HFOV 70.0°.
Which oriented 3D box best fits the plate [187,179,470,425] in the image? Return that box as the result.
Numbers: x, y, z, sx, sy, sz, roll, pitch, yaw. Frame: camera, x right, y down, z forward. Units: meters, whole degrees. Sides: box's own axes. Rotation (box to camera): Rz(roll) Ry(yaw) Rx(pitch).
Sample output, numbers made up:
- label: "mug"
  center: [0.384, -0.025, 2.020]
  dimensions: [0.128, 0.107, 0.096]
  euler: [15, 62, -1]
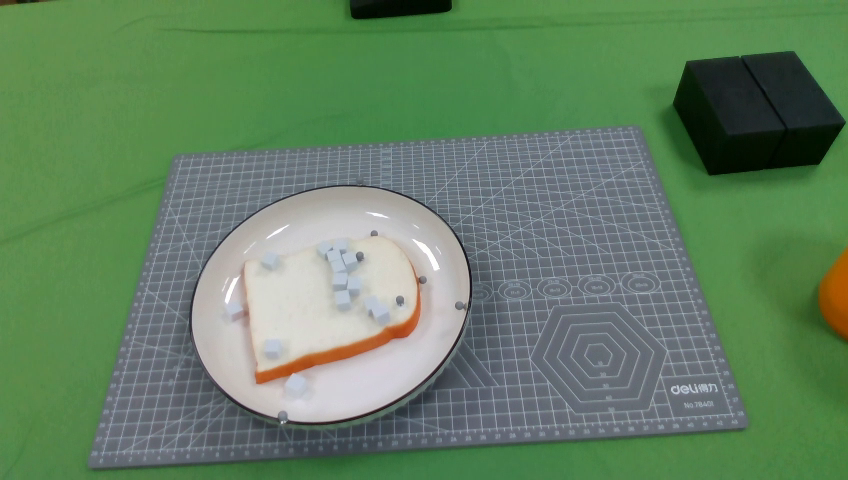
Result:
- label: "plate"
  center: [-0.069, 0.042, 0.459]
  dimensions: [0.209, 0.038, 0.207]
  euler: [-1, 54, 2]

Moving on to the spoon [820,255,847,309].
- label: "spoon"
  center: [0.363, -0.001, 0.397]
  dimensions: [0.193, 0.022, 0.041]
  euler: [-29, 42, 33]

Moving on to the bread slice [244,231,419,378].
- label: "bread slice"
  center: [-0.071, 0.039, 0.465]
  dimensions: [0.132, 0.019, 0.103]
  euler: [-16, 55, -7]
